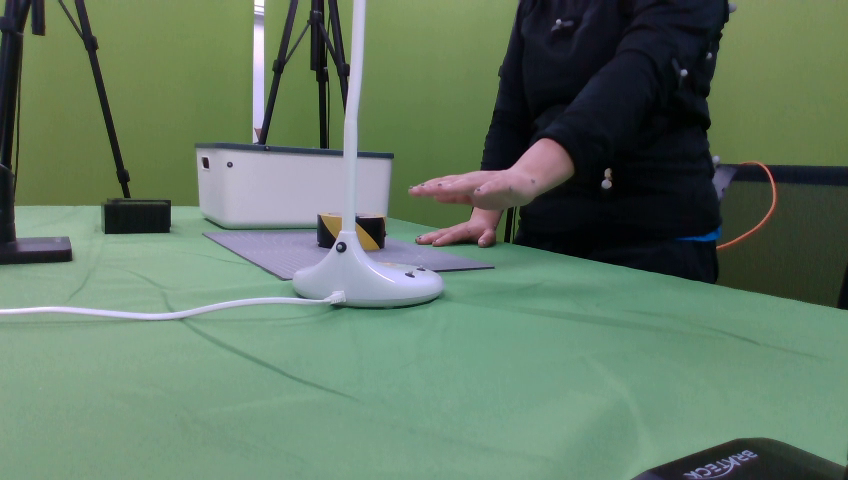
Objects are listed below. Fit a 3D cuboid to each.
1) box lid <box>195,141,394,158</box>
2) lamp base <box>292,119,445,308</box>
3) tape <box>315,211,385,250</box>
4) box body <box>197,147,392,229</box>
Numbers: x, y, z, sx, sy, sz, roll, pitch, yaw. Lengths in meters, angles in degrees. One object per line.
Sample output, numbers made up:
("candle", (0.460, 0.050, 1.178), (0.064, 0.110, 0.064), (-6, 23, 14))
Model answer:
("box lid", (-0.277, -0.190, 1.282), (0.373, 0.015, 0.262), (-1, 8, -30))
("lamp base", (-0.056, -0.030, 0.616), (0.160, 0.180, 0.179), (4, 10, 8))
("tape", (-0.119, -0.017, 0.973), (0.117, 0.052, 0.117), (2, 7, 0))
("box body", (-0.278, -0.117, 1.292), (0.366, 0.160, 0.253), (-2, 8, -30))
